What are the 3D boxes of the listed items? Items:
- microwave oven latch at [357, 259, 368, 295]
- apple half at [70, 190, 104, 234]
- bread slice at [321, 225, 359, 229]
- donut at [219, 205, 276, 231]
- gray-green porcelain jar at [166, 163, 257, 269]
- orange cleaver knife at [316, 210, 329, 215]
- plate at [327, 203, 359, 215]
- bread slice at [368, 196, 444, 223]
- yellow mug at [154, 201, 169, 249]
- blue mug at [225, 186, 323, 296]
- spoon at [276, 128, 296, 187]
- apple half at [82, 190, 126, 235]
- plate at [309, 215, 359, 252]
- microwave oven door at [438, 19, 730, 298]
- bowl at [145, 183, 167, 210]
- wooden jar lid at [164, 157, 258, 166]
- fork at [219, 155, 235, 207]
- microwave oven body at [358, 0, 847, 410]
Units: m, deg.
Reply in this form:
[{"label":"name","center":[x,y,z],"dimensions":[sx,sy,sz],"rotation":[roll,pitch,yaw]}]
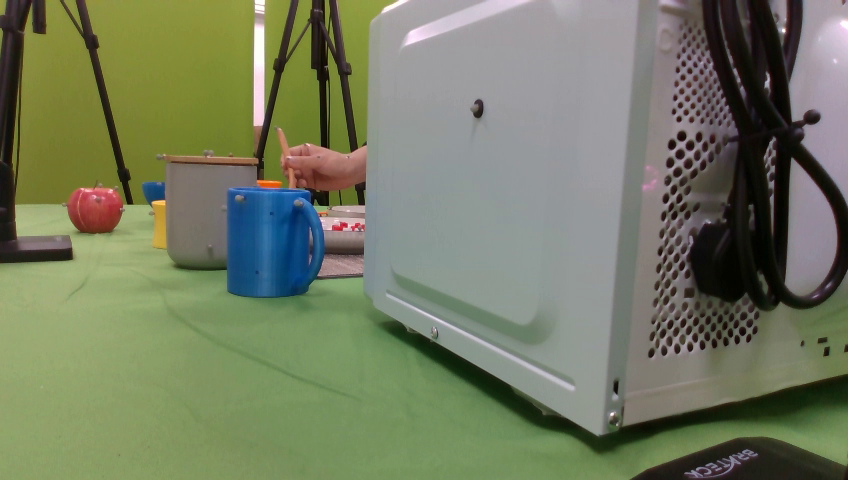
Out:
[{"label":"microwave oven latch","center":[-0.019,0.031,0.529],"dimensions":[0.079,0.029,0.030],"rotation":[-1,7,-26]},{"label":"apple half","center":[-0.552,-0.047,1.009],"dimensions":[0.053,0.074,0.081],"rotation":[-1,9,26]},{"label":"bread slice","center":[-0.125,-0.008,0.938],"dimensions":[0.131,0.019,0.105],"rotation":[5,9,32]},{"label":"donut","center":[-0.316,-0.039,1.083],"dimensions":[0.099,0.048,0.099],"rotation":[3,6,0]},{"label":"gray-green porcelain jar","center":[-0.263,-0.031,0.754],"dimensions":[0.106,0.126,0.106],"rotation":[2,7,0]},{"label":"orange cleaver knife","center":[-0.259,-0.064,1.423],"dimensions":[0.212,0.012,0.077],"rotation":[-4,3,-30]},{"label":"plate","center":[-0.102,-0.053,1.299],"dimensions":[0.209,0.038,0.209],"rotation":[2,8,0]},{"label":"bread slice","center":[-0.040,-0.057,1.142],"dimensions":[0.107,0.018,0.133],"rotation":[-8,-8,-39]},{"label":"yellow mug","center":[-0.337,-0.022,0.899],"dimensions":[0.130,0.064,0.100],"rotation":[8,10,34]},{"label":"blue mug","center":[-0.148,0.000,0.618],"dimensions":[0.116,0.106,0.083],"rotation":[7,9,33]},{"label":"spoon","center":[-0.219,-0.108,0.989],"dimensions":[0.021,0.193,0.042],"rotation":[-29,-28,29]},{"label":"apple half","center":[-0.517,-0.046,0.994],"dimensions":[0.032,0.081,0.081],"rotation":[0,6,26]},{"label":"plate","center":[-0.130,-0.011,0.945],"dimensions":[0.208,0.039,0.207],"rotation":[2,8,0]},{"label":"microwave oven door","center":[0.181,-0.076,0.618],"dimensions":[0.358,0.243,0.039],"rotation":[-2,8,-28]},{"label":"bowl","center":[-0.459,-0.069,1.175],"dimensions":[0.151,0.077,0.151],"rotation":[3,7,0]},{"label":"wooden jar lid","center":[-0.261,-0.093,0.746],"dimensions":[0.108,0.020,0.108],"rotation":[0,9,0]},{"label":"fork","center":[-0.459,-0.134,1.415],"dimensions":[0.028,0.018,0.207],"rotation":[-2,-34,-25]},{"label":"microwave oven body","center":[0.210,-0.051,0.471],"dimensions":[0.444,0.260,0.324],"rotation":[-1,7,-28]}]
